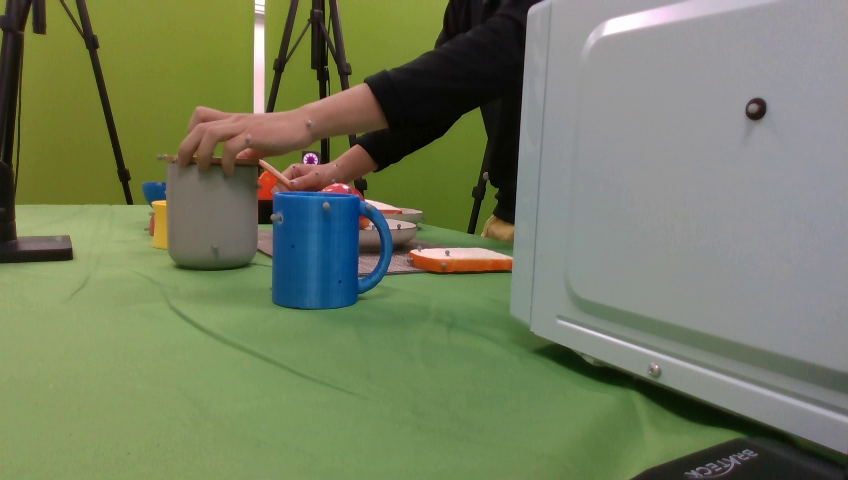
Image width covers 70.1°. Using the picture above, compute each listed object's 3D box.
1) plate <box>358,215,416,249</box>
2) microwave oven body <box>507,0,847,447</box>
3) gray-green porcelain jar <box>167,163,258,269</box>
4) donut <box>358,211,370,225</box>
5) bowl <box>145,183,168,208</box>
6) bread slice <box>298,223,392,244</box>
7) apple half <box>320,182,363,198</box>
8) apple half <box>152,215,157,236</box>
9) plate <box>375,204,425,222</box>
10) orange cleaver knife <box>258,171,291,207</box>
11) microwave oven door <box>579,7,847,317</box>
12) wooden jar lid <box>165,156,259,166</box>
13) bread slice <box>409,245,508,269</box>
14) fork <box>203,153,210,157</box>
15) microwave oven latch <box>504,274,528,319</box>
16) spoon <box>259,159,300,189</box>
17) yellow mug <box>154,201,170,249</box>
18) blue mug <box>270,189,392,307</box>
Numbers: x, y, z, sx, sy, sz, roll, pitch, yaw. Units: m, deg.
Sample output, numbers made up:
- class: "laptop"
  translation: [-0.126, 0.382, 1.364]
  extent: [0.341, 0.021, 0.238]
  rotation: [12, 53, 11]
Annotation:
- class: "plate"
  translation: [-0.116, -0.014, 0.967]
  extent: [0.208, 0.039, 0.207]
  rotation: [2, 7, 0]
- class: "microwave oven body"
  translation: [0.331, -0.042, 0.425]
  extent: [0.444, 0.260, 0.324]
  rotation: [-2, 8, -31]
- class: "gray-green porcelain jar"
  translation: [-0.261, -0.031, 0.753]
  extent: [0.106, 0.126, 0.106]
  rotation: [2, 7, 0]
- class: "donut"
  translation: [-0.133, -0.042, 0.959]
  extent: [0.099, 0.048, 0.099]
  rotation: [0, 7, 0]
- class: "bowl"
  translation: [-0.459, -0.069, 1.175]
  extent: [0.151, 0.077, 0.151]
  rotation: [2, 7, 0]
- class: "bread slice"
  translation: [-0.120, -0.012, 0.971]
  extent: [0.106, 0.018, 0.135]
  rotation: [10, 12, 41]
- class: "apple half"
  translation: [-0.129, -0.076, 0.953]
  extent: [0.081, 0.033, 0.081]
  rotation: [8, 11, -1]
- class: "apple half"
  translation: [-0.415, -0.034, 1.017]
  extent: [0.081, 0.053, 0.074]
  rotation: [1, 10, -9]
- class: "plate"
  translation: [-0.102, -0.053, 1.299]
  extent: [0.209, 0.038, 0.209]
  rotation: [2, 8, 0]
- class: "orange cleaver knife"
  translation: [-0.283, -0.087, 1.343]
  extent: [0.212, 0.077, 0.012]
  rotation: [24, -16, -41]
- class: "microwave oven door"
  translation: [0.294, -0.067, 0.570]
  extent: [0.358, 0.243, 0.039]
  rotation: [-3, 9, -31]
- class: "wooden jar lid"
  translation: [-0.259, -0.093, 0.745]
  extent: [0.108, 0.020, 0.108]
  rotation: [1, 9, 0]
- class: "bread slice"
  translation: [0.048, 0.021, 0.816]
  extent: [0.132, 0.019, 0.104]
  rotation: [0, 7, -24]
- class: "fork"
  translation: [-0.480, -0.135, 1.411]
  extent: [0.028, 0.018, 0.207]
  rotation: [1, -34, 0]
- class: "microwave oven latch"
  translation: [0.100, 0.041, 0.470]
  extent: [0.079, 0.029, 0.030]
  rotation: [-1, 7, -26]
- class: "spoon"
  translation: [-0.211, -0.077, 1.031]
  extent: [0.193, 0.021, 0.042]
  rotation: [44, 38, 3]
- class: "yellow mug"
  translation: [-0.337, -0.023, 0.899]
  extent: [0.130, 0.064, 0.100]
  rotation: [8, 10, 35]
- class: "blue mug"
  translation: [-0.089, 0.005, 0.588]
  extent: [0.117, 0.106, 0.082]
  rotation: [1, 7, -10]
